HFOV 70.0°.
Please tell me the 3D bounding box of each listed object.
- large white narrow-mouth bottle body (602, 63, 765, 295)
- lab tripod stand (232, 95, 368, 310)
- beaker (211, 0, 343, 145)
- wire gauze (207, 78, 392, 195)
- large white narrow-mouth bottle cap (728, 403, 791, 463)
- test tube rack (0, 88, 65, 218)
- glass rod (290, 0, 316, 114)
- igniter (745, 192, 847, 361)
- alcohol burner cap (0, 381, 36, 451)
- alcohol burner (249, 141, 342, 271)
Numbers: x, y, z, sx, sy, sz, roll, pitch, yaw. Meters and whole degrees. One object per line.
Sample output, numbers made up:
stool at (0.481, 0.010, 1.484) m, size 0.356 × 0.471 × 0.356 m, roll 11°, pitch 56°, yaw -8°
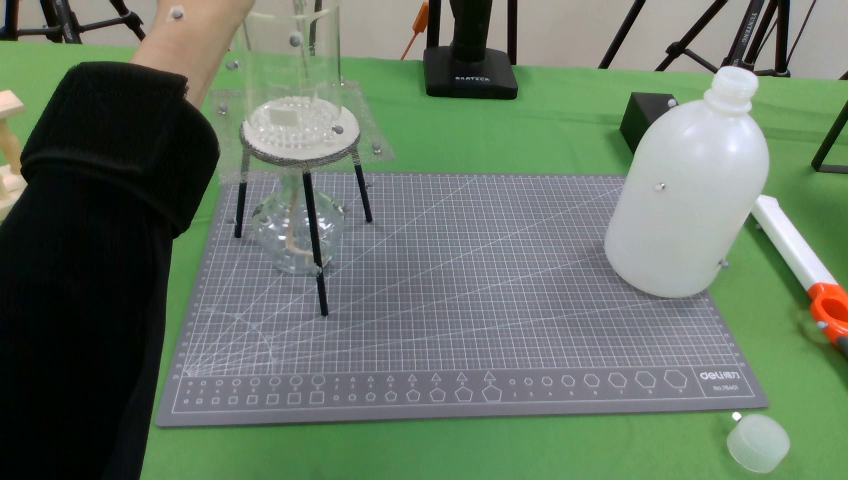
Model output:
large white narrow-mouth bottle body at (0.220, -0.051, 0.504) m, size 0.102 × 0.196 × 0.101 m, roll 3°, pitch 42°, yaw -2°
lab tripod stand at (-0.098, -0.037, 0.499) m, size 0.148 × 0.132 × 0.147 m, roll 5°, pitch 43°, yaw -4°
beaker at (-0.098, -0.125, 0.424) m, size 0.084 × 0.101 × 0.073 m, roll -4°, pitch 45°, yaw -11°
wire gauze at (-0.097, -0.086, 0.456) m, size 0.122 × 0.011 × 0.123 m, roll -11°, pitch 49°, yaw -15°
large white narrow-mouth bottle cap at (0.240, 0.138, 0.434) m, size 0.038 × 0.024 × 0.037 m, roll 3°, pitch 42°, yaw -2°
test tube rack at (-0.449, -0.040, 0.502) m, size 0.066 × 0.086 × 0.242 m, roll 36°, pitch 50°, yaw 29°
glass rod at (-0.088, -0.174, 0.393) m, size 0.008 × 0.201 × 0.008 m, roll -1°, pitch 38°, yaw 1°
igniter at (0.357, 0.049, 0.540) m, size 0.057 × 0.025 × 0.273 m, roll 9°, pitch 41°, yaw -12°
alcohol burner cap at (-0.276, 0.111, 0.390) m, size 0.034 × 0.048 × 0.033 m, roll 5°, pitch 42°, yaw -4°
alcohol burner at (-0.108, -0.031, 0.506) m, size 0.078 × 0.120 × 0.077 m, roll 5°, pitch 41°, yaw -4°
